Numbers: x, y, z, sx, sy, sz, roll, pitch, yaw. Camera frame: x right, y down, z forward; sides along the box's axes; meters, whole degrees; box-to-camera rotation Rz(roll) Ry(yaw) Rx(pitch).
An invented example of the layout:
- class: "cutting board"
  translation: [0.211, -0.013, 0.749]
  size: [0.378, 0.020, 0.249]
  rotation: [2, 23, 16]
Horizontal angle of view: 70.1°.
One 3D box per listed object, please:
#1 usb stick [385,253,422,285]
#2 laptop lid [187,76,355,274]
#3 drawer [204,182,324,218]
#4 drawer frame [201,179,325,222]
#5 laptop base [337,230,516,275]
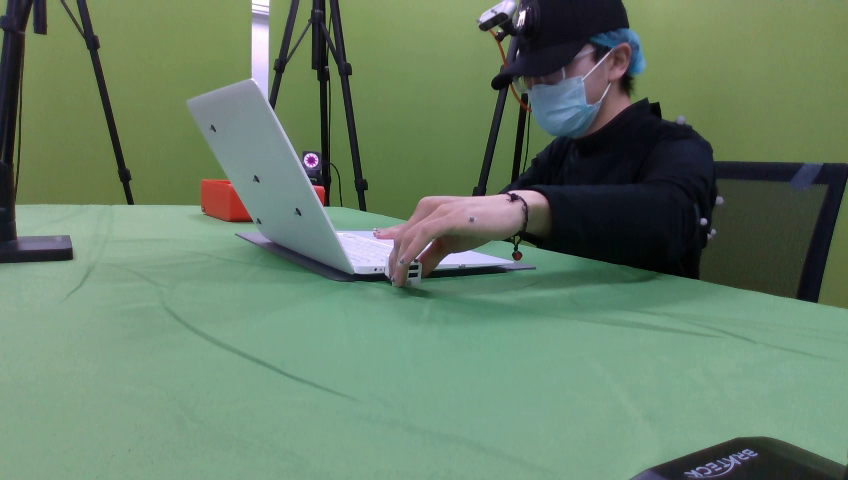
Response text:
- class: "usb stick"
  translation: [-0.027, 0.030, 0.673]
  size: [0.021, 0.027, 0.059]
  rotation: [-4, 10, -35]
- class: "laptop lid"
  translation: [-0.210, -0.082, 0.772]
  size: [0.013, 0.242, 0.355]
  rotation: [-34, 25, -23]
- class: "drawer"
  translation: [-0.360, -0.092, 1.358]
  size: [0.213, 0.073, 0.193]
  rotation: [-3, 10, -36]
- class: "drawer frame"
  translation: [-0.361, -0.092, 1.356]
  size: [0.215, 0.082, 0.200]
  rotation: [-4, 10, -37]
- class: "laptop base"
  translation: [-0.065, 0.014, 0.877]
  size: [0.237, 0.023, 0.352]
  rotation: [2, 7, -32]
